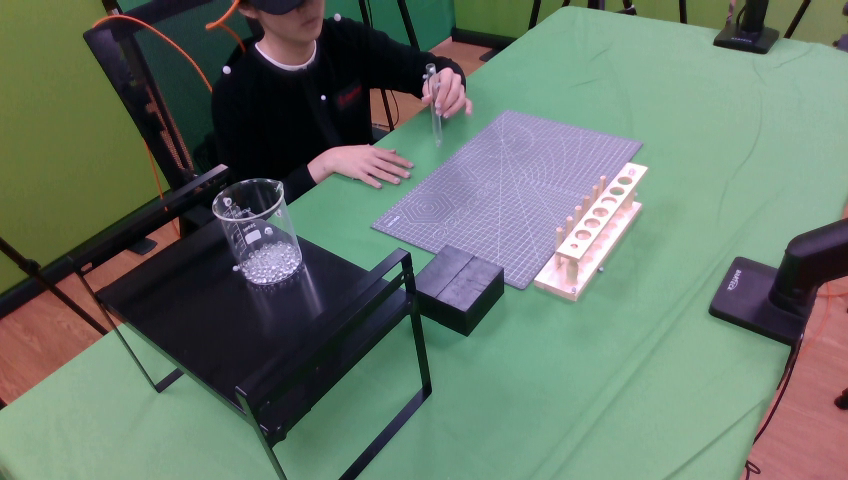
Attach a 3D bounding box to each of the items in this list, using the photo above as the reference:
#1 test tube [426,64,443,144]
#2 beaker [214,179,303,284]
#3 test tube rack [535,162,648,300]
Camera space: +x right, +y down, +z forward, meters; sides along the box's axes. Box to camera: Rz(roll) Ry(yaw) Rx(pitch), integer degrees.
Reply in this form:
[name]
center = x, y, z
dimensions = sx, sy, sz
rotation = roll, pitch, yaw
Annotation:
[test tube]
center = 0.020, -0.230, 1.038
dimensions = 0.017, 0.151, 0.017
rotation = -4, 43, 5
[beaker]
center = -0.178, -0.008, 0.675
dimensions = 0.073, 0.101, 0.084
rotation = 22, 48, 30
[test tube rack]
center = 0.257, -0.024, 0.916
dimensions = 0.066, 0.085, 0.243
rotation = 22, 49, 30
